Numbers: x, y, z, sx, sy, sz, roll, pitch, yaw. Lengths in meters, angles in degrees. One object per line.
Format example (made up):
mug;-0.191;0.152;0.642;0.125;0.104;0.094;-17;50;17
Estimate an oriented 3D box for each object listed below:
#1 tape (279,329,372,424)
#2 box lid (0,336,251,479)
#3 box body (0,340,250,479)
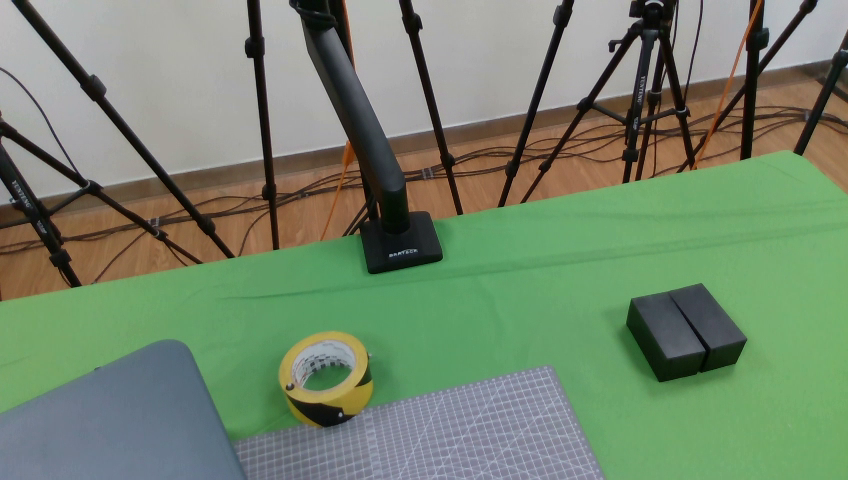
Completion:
tape;-0.125;0.171;0.769;0.117;0.053;0.115;-3;41;3
box lid;-0.347;0.244;0.520;0.372;0.015;0.260;-26;48;-21
box body;-0.343;0.298;0.571;0.364;0.162;0.251;-26;47;-21
